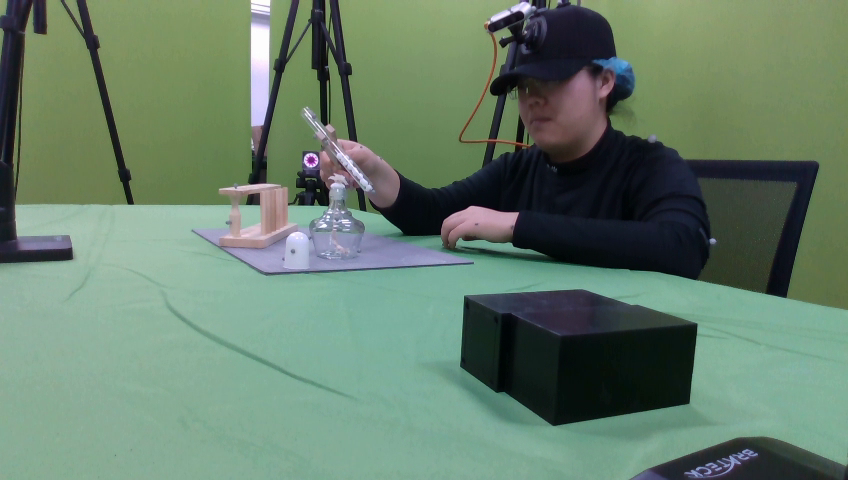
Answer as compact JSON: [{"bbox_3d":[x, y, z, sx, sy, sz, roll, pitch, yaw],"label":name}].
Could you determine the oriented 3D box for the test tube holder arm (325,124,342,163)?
[{"bbox_3d":[-0.127,-0.132,0.851,0.010,0.015,0.088,-33,-19,-14],"label":"test tube holder arm"}]

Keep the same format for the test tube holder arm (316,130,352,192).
[{"bbox_3d":[-0.130,-0.113,0.891,0.013,0.015,0.178,-34,-19,-8],"label":"test tube holder arm"}]

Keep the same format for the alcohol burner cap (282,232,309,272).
[{"bbox_3d":[-0.157,0.014,0.740,0.034,0.048,0.034,2,6,0],"label":"alcohol burner cap"}]

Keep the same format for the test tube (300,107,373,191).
[{"bbox_3d":[-0.119,-0.124,0.825,0.017,0.150,0.017,-39,-9,-8],"label":"test tube"}]

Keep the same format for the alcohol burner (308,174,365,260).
[{"bbox_3d":[-0.121,-0.033,0.841,0.078,0.119,0.078,3,5,0],"label":"alcohol burner"}]

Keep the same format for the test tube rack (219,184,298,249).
[{"bbox_3d":[-0.266,-0.045,1.001,0.067,0.085,0.242,3,7,0],"label":"test tube rack"}]
